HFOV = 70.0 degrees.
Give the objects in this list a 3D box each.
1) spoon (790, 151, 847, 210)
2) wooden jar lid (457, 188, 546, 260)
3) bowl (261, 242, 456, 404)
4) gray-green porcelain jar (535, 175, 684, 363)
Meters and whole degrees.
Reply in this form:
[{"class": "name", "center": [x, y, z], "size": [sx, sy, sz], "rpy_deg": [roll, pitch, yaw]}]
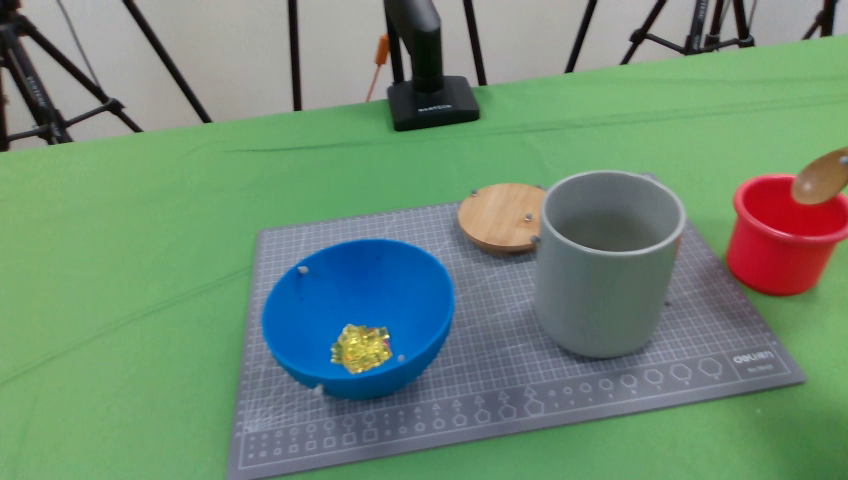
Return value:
[{"class": "spoon", "center": [0.318, -0.073, 0.411], "size": [0.021, 0.195, 0.041], "rpy_deg": [12, 66, 2]}, {"class": "wooden jar lid", "center": [0.089, -0.016, 0.636], "size": [0.108, 0.021, 0.107], "rpy_deg": [-4, 39, 3]}, {"class": "bowl", "center": [-0.047, 0.079, 0.492], "size": [0.151, 0.077, 0.150], "rpy_deg": [-3, 40, 3]}, {"class": "gray-green porcelain jar", "center": [0.144, 0.028, 0.492], "size": [0.106, 0.128, 0.105], "rpy_deg": [-3, 40, 3]}]
